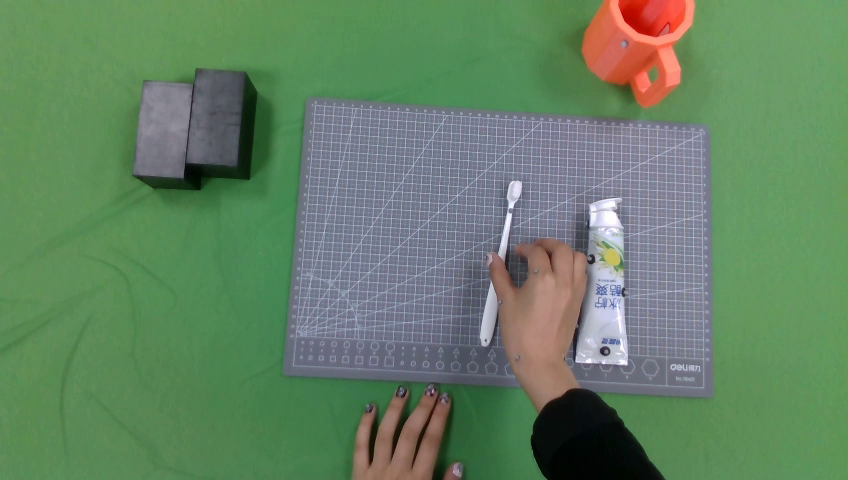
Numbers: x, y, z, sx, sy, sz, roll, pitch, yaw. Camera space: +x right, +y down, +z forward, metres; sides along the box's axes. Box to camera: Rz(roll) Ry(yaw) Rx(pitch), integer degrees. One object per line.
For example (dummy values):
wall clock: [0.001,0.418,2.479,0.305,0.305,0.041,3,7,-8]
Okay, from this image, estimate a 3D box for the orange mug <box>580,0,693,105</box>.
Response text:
orange mug: [0.228,-0.212,0.644,0.083,0.101,0.125,-18,79,-5]

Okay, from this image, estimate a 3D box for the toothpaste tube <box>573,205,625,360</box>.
toothpaste tube: [0.186,0.043,0.639,0.055,0.034,0.164,2,86,5]

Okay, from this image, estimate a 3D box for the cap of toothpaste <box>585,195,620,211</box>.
cap of toothpaste: [0.191,-0.039,0.645,0.037,0.037,0.011,-9,79,-5]

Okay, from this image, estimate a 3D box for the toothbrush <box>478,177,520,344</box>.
toothbrush: [0.080,0.020,0.642,0.014,0.016,0.181,14,83,-18]
